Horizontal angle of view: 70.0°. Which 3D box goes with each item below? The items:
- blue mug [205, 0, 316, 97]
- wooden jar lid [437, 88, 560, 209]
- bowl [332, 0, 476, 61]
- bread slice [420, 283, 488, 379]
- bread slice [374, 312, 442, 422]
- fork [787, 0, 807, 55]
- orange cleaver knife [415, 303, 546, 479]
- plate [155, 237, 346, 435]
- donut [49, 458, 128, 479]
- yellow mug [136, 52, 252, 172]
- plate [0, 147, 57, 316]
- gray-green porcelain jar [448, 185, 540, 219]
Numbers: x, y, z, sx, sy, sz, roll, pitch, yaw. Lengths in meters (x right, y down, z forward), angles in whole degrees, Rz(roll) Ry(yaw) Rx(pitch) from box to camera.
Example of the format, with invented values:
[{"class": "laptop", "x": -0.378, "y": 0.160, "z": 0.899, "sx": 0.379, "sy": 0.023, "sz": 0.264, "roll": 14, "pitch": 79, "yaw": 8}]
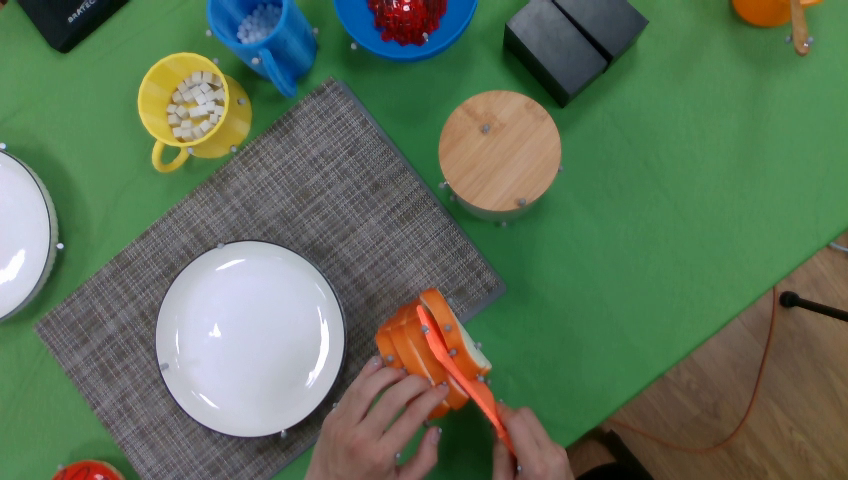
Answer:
[{"class": "blue mug", "x": -0.163, "y": -0.208, "z": 0.637, "sx": 0.082, "sy": 0.106, "sz": 0.116, "roll": -19, "pitch": 86, "yaw": 4}, {"class": "wooden jar lid", "x": 0.065, "y": -0.080, "z": 0.540, "sx": 0.108, "sy": 0.021, "sz": 0.108, "roll": 0, "pitch": 87, "yaw": 3}, {"class": "bowl", "x": -0.017, "y": -0.254, "z": 0.640, "sx": 0.151, "sy": 0.077, "sz": 0.151, "roll": 0, "pitch": 88, "yaw": 5}, {"class": "bread slice", "x": 0.031, "y": 0.089, "z": 0.596, "sx": 0.019, "sy": 0.132, "sz": 0.104, "roll": -31, "pitch": 81, "yaw": 1}, {"class": "bread slice", "x": -0.015, "y": 0.122, "z": 0.602, "sx": 0.018, "sy": 0.134, "sz": 0.106, "roll": -29, "pitch": 84, "yaw": 4}, {"class": "fork", "x": 0.343, "y": -0.229, "z": 0.574, "sx": 0.028, "sy": 0.019, "sz": 0.206, "roll": 23, "pitch": 46, "yaw": -1}, {"class": "orange cleaver knife", "x": 0.054, "y": 0.145, "z": 0.575, "sx": 0.012, "sy": 0.076, "sz": 0.213, "roll": -34, "pitch": 111, "yaw": 7}, {"class": "plate", "x": -0.184, "y": 0.101, "z": 0.656, "sx": 0.209, "sy": 0.038, "sz": 0.209, "roll": 0, "pitch": 88, "yaw": 5}, {"class": "donut", "x": -0.370, "y": 0.289, "z": 0.665, "sx": 0.099, "sy": 0.048, "sz": 0.099, "roll": 0, "pitch": 86, "yaw": 3}, {"class": "yellow mug", "x": -0.256, "y": -0.131, "z": 0.661, "sx": 0.100, "sy": 0.064, "sz": 0.131, "roll": 30, "pitch": 91, "yaw": 6}, {"class": "plate", "x": -0.514, "y": -0.008, "z": 0.692, "sx": 0.207, "sy": 0.039, "sz": 0.207, "roll": 0, "pitch": 88, "yaw": 5}, {"class": "gray-green porcelain jar", "x": 0.072, "y": -0.076, "z": 0.602, "sx": 0.106, "sy": 0.127, "sz": 0.105, "roll": 0, "pitch": 87, "yaw": 5}]
